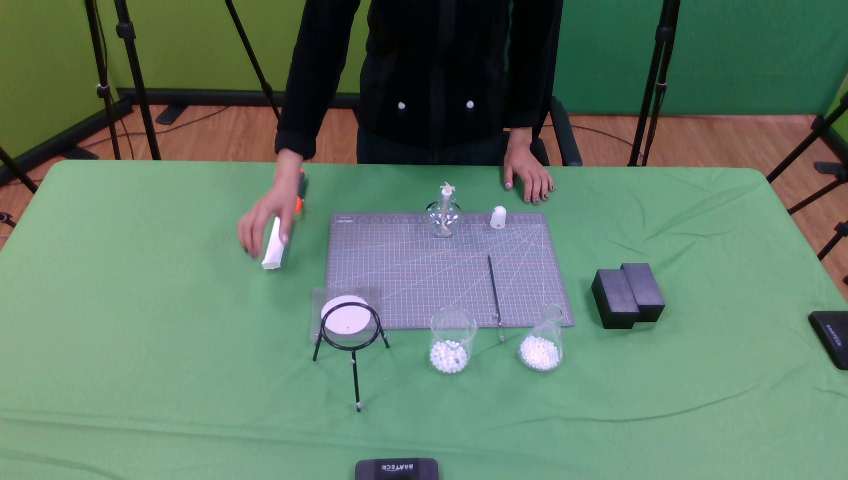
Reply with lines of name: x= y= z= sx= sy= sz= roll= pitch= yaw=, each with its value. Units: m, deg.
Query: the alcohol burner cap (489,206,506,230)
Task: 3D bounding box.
alcohol burner cap: x=0.152 y=-0.047 z=1.241 sx=0.034 sy=0.048 sz=0.033 roll=2 pitch=45 yaw=-2

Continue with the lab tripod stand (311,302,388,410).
lab tripod stand: x=-0.113 y=0.168 z=0.951 sx=0.148 sy=0.132 sz=0.147 roll=2 pitch=44 yaw=-2

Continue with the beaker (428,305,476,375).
beaker: x=0.044 y=0.169 z=0.987 sx=0.074 sy=0.101 sz=0.083 roll=1 pitch=47 yaw=-3

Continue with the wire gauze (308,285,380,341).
wire gauze: x=-0.141 y=0.128 z=1.071 sx=0.125 sy=0.011 sz=0.120 roll=-1 pitch=46 yaw=-5

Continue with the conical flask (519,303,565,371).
conical flask: x=0.201 y=0.155 z=0.997 sx=0.075 sy=0.122 sz=0.075 roll=2 pitch=46 yaw=-2

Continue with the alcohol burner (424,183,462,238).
alcohol burner: x=0.039 y=-0.063 z=1.197 sx=0.078 sy=0.119 sz=0.077 roll=2 pitch=44 yaw=-2

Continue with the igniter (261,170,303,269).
igniter: x=-0.284 y=-0.050 z=1.222 sx=0.057 sy=0.025 sz=0.275 roll=-4 pitch=46 yaw=7

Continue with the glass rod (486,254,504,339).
glass rod: x=0.130 y=0.099 z=1.119 sx=0.008 sy=0.008 sz=0.198 roll=-1 pitch=46 yaw=-4
